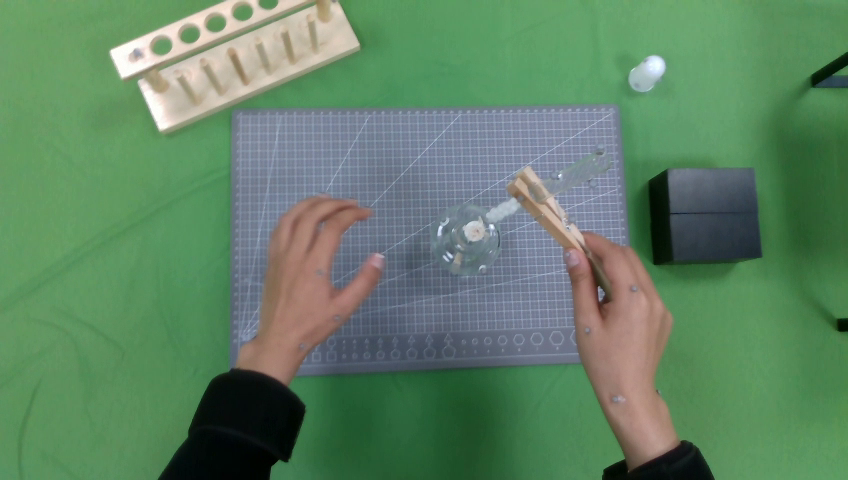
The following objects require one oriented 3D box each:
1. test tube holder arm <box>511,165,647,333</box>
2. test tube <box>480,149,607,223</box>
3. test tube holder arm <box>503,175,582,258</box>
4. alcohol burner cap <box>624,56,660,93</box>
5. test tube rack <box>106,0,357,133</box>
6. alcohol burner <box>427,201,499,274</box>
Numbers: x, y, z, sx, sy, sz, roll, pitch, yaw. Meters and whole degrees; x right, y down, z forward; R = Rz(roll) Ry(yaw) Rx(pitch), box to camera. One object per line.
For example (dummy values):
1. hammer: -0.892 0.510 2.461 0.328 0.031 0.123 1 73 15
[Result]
1. test tube holder arm: 0.131 0.011 0.501 0.179 0.015 0.013 49 65 -13
2. test tube: 0.087 -0.038 0.478 0.017 0.150 0.017 7 73 -25
3. test tube holder arm: 0.097 -0.017 0.488 0.088 0.015 0.010 43 66 -15
4. alcohol burner cap: 0.258 -0.197 0.712 0.034 0.048 0.033 0 81 -3
5. test tube rack: -0.199 -0.208 0.658 0.242 0.085 0.066 -26 84 -7
6. alcohol burner: 0.043 -0.005 0.630 0.078 0.119 0.077 1 82 -5
